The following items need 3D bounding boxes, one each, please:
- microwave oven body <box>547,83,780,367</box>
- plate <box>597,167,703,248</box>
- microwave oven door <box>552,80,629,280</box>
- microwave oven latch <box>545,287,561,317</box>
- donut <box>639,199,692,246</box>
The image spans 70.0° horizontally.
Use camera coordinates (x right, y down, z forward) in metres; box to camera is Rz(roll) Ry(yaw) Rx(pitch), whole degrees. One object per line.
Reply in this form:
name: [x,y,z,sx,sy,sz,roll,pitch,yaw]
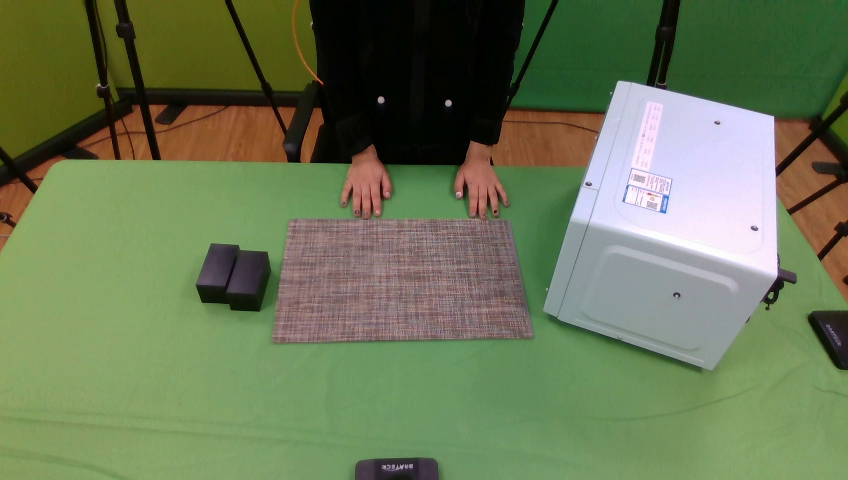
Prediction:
microwave oven body: [0.445,-0.041,1.101,0.325,0.261,0.440,17,47,13]
plate: [0.432,-0.060,1.177,0.209,0.038,0.208,7,47,-8]
microwave oven door: [0.324,-0.116,1.156,0.039,0.245,0.354,18,48,13]
microwave oven latch: [0.237,0.098,1.087,0.030,0.029,0.079,17,47,13]
donut: [0.461,-0.034,1.159,0.099,0.048,0.098,1,62,-2]
